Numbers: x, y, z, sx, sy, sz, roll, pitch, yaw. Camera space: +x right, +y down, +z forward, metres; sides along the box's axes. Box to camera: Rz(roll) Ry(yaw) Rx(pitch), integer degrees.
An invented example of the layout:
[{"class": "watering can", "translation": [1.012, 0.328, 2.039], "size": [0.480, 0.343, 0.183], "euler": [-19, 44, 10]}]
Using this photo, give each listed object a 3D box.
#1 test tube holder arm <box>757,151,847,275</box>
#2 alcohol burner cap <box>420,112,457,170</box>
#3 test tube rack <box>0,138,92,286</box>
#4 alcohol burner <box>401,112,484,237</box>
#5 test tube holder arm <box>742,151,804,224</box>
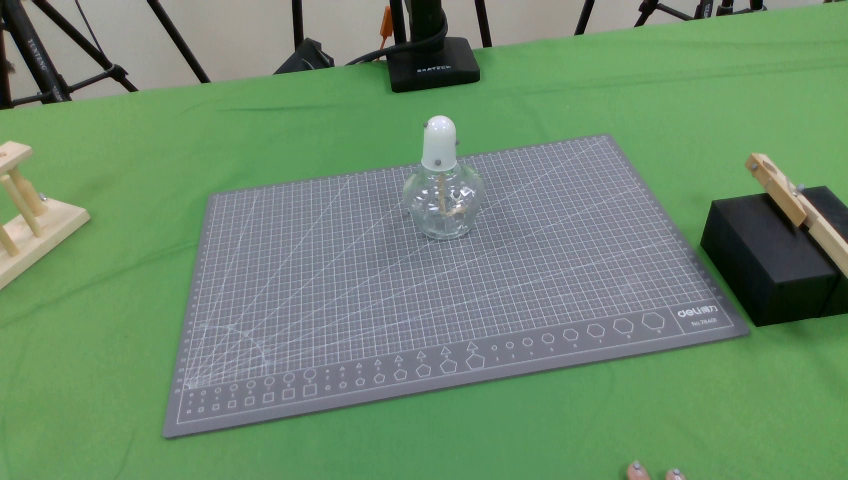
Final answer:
[{"class": "test tube holder arm", "translation": [0.305, -0.015, 0.475], "size": [0.013, 0.015, 0.176], "euler": [-2, 42, -8]}, {"class": "alcohol burner cap", "translation": [0.013, -0.088, 0.531], "size": [0.034, 0.048, 0.033], "euler": [1, 42, 0]}, {"class": "test tube rack", "translation": [-0.438, 0.011, 0.552], "size": [0.066, 0.086, 0.241], "euler": [15, 46, 21]}, {"class": "alcohol burner", "translation": [0.016, -0.063, 0.556], "size": [0.078, 0.120, 0.077], "euler": [-4, 41, 4]}, {"class": "test tube holder arm", "translation": [0.294, -0.045, 0.507], "size": [0.010, 0.015, 0.087], "euler": [-1, 42, -8]}]
